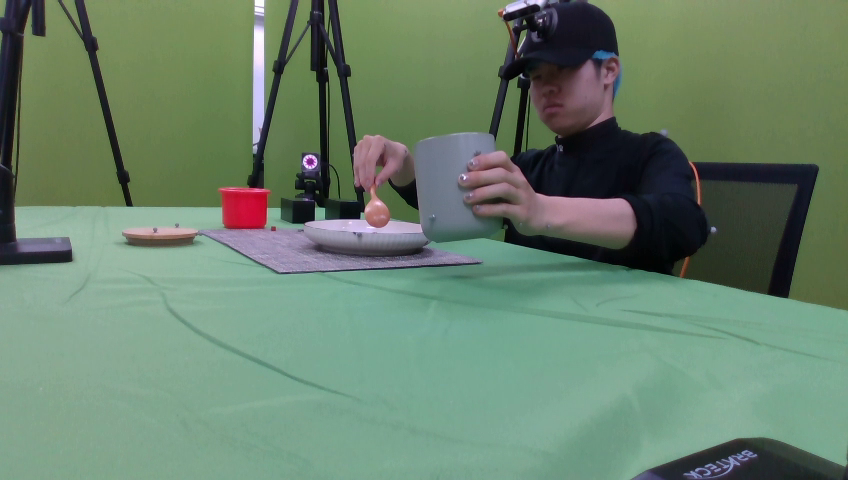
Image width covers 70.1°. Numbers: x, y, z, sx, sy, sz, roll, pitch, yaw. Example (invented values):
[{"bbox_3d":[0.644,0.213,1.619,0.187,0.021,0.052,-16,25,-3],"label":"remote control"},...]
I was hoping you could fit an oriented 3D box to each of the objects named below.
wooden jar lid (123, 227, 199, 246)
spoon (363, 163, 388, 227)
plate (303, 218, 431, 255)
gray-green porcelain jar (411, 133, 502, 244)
[{"bbox_3d":[-0.408,-0.006,0.942,0.108,0.020,0.108,3,6,0],"label":"wooden jar lid"},{"bbox_3d":[-0.087,-0.080,1.005,0.042,0.021,0.193,11,30,-18],"label":"spoon"},{"bbox_3d":[-0.084,-0.005,0.952,0.208,0.039,0.207,3,7,0],"label":"plate"},{"bbox_3d":[0.042,-0.061,0.759,0.106,0.126,0.106,-6,0,0],"label":"gray-green porcelain jar"}]
